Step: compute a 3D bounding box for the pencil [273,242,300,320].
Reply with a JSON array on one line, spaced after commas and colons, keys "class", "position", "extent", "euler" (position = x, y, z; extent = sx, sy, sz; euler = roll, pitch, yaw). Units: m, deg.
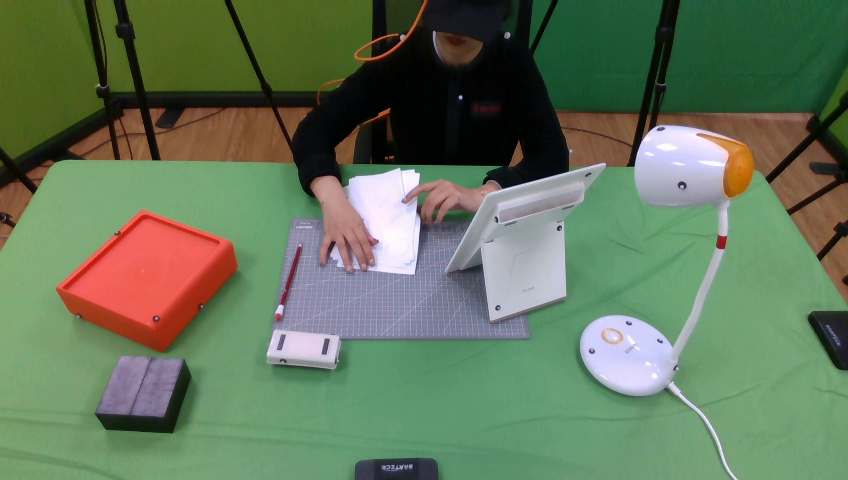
[{"class": "pencil", "position": [-0.249, 0.071, 1.115], "extent": [0.012, 0.012, 0.193], "euler": [5, 43, 1]}]

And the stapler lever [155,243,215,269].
[{"class": "stapler lever", "position": [-0.433, 0.023, 1.097], "extent": [0.118, 0.040, 0.026], "euler": [14, 39, 14]}]

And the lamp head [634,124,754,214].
[{"class": "lamp head", "position": [0.351, -0.089, 0.776], "extent": [0.112, 0.113, 0.122], "euler": [-30, 30, -28]}]

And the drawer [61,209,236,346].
[{"class": "drawer", "position": [-0.474, 0.061, 1.063], "extent": [0.194, 0.073, 0.211], "euler": [19, 48, 13]}]

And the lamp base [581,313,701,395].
[{"class": "lamp base", "position": [0.361, 0.144, 0.973], "extent": [0.178, 0.181, 0.160], "euler": [34, 53, 23]}]

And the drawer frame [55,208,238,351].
[{"class": "drawer frame", "position": [-0.474, 0.062, 1.060], "extent": [0.201, 0.083, 0.213], "euler": [18, 48, 12]}]

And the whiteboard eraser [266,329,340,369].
[{"class": "whiteboard eraser", "position": [-0.198, 0.181, 0.994], "extent": [0.113, 0.042, 0.055], "euler": [5, 45, 1]}]

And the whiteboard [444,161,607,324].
[{"class": "whiteboard", "position": [0.186, 0.025, 1.029], "extent": [0.217, 0.306, 0.143], "euler": [-15, 68, -18]}]

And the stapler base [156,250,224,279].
[{"class": "stapler base", "position": [-0.431, 0.040, 1.110], "extent": [0.130, 0.024, 0.041], "euler": [11, 38, 17]}]

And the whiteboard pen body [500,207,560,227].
[{"class": "whiteboard pen body", "position": [0.222, -0.051, 1.260], "extent": [0.141, 0.017, 0.017], "euler": [-15, 49, -16]}]

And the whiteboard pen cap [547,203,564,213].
[{"class": "whiteboard pen cap", "position": [0.277, -0.066, 1.275], "extent": [0.033, 0.018, 0.018], "euler": [-18, 50, -15]}]
